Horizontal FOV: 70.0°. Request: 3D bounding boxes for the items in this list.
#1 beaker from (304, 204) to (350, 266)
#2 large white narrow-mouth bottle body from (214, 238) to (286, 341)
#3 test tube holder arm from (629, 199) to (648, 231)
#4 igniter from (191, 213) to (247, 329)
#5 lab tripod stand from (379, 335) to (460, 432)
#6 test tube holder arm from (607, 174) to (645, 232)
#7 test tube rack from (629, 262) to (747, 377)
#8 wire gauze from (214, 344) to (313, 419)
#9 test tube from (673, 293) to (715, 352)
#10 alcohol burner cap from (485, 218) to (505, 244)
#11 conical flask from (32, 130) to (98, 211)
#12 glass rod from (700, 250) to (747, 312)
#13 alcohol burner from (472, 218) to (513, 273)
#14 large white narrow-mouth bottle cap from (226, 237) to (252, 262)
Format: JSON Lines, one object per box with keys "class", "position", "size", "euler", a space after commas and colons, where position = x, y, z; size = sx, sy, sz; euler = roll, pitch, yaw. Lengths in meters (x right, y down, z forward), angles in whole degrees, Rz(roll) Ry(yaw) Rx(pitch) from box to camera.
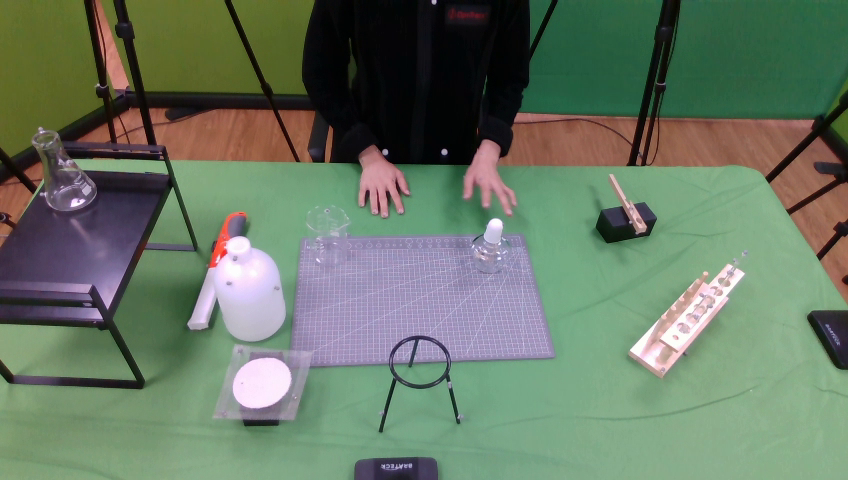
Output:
{"class": "beaker", "position": [-0.178, -0.006, 1.132], "size": [0.084, 0.101, 0.073], "euler": [4, 46, -1]}
{"class": "large white narrow-mouth bottle body", "position": [-0.285, 0.073, 0.986], "size": [0.102, 0.195, 0.101], "euler": [2, 46, -2]}
{"class": "test tube holder arm", "position": [0.423, -0.050, 1.206], "size": [0.010, 0.015, 0.087], "euler": [1, 41, -12]}
{"class": "igniter", "position": [-0.376, 0.047, 1.121], "size": [0.057, 0.025, 0.275], "euler": [-4, 46, 6]}
{"class": "lab tripod stand", "position": [-0.010, 0.214, 0.911], "size": [0.148, 0.132, 0.147], "euler": [1, 45, 0]}
{"class": "test tube holder arm", "position": [0.411, -0.080, 1.238], "size": [0.013, 0.015, 0.177], "euler": [1, 42, -13]}
{"class": "test tube rack", "position": [0.464, 0.126, 1.060], "size": [0.242, 0.085, 0.066], "euler": [-34, 56, -31]}
{"class": "wire gauze", "position": [-0.241, 0.213, 0.915], "size": [0.121, 0.011, 0.124], "euler": [5, 46, 1]}
{"class": "test tube", "position": [0.429, 0.137, 0.979], "size": [0.017, 0.151, 0.017], "euler": [5, 46, -5]}
{"class": "alcohol burner cap", "position": [0.133, -0.021, 1.114], "size": [0.034, 0.048, 0.033], "euler": [5, 45, -5]}
{"class": "conical flask", "position": [-0.565, -0.110, 0.944], "size": [0.075, 0.122, 0.075], "euler": [2, 46, -2]}
{"class": "glass rod", "position": [0.500, 0.075, 1.021], "size": [0.008, 0.201, 0.008], "euler": [0, 54, 1]}
{"class": "alcohol burner", "position": [0.128, 0.005, 1.132], "size": [0.078, 0.120, 0.077], "euler": [0, 47, 0]}
{"class": "large white narrow-mouth bottle cap", "position": [-0.281, 0.014, 0.923], "size": [0.038, 0.024, 0.037], "euler": [2, 46, -2]}
